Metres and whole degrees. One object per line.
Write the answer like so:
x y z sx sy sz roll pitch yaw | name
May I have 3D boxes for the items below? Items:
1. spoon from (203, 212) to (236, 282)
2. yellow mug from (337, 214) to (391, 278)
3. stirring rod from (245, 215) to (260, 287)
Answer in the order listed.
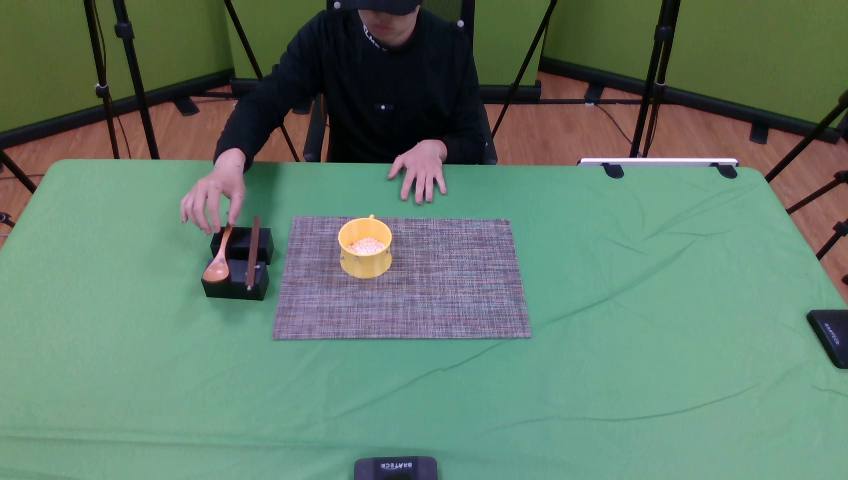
-0.361 0.009 1.097 0.041 0.022 0.192 -1 44 -2 | spoon
-0.110 0.003 1.152 0.100 0.064 0.130 7 45 2 | yellow mug
-0.310 0.017 1.096 0.014 0.006 0.175 27 36 -32 | stirring rod
